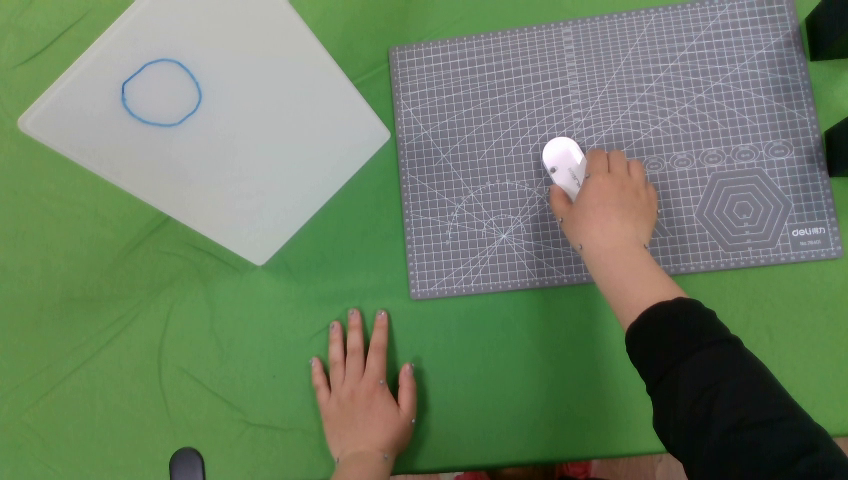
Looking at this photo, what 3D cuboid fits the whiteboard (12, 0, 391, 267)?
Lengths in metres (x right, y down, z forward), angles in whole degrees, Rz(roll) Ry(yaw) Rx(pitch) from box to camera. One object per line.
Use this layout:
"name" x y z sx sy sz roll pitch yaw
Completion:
"whiteboard" -0.209 -0.143 0.602 0.217 0.308 0.142 -45 59 0

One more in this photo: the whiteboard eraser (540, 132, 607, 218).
"whiteboard eraser" 0.161 -0.071 0.654 0.041 0.019 0.101 -29 80 3
